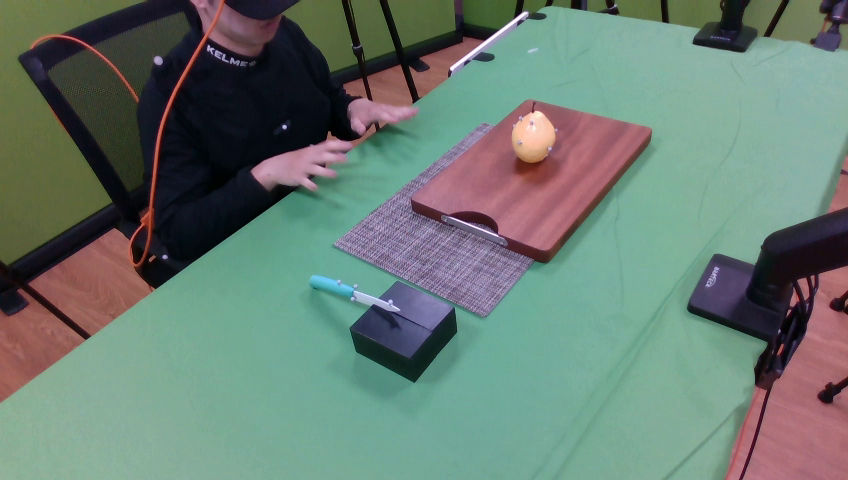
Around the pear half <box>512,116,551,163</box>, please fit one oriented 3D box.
[{"bbox_3d":[0.182,-0.169,1.043,0.070,0.088,0.031,13,45,18],"label":"pear half"}]

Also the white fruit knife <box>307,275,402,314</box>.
[{"bbox_3d":[-0.102,0.076,0.847,0.205,0.027,0.016,11,46,43],"label":"white fruit knife"}]

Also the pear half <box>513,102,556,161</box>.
[{"bbox_3d":[0.196,-0.198,1.060,0.076,0.110,0.056,13,44,17],"label":"pear half"}]
